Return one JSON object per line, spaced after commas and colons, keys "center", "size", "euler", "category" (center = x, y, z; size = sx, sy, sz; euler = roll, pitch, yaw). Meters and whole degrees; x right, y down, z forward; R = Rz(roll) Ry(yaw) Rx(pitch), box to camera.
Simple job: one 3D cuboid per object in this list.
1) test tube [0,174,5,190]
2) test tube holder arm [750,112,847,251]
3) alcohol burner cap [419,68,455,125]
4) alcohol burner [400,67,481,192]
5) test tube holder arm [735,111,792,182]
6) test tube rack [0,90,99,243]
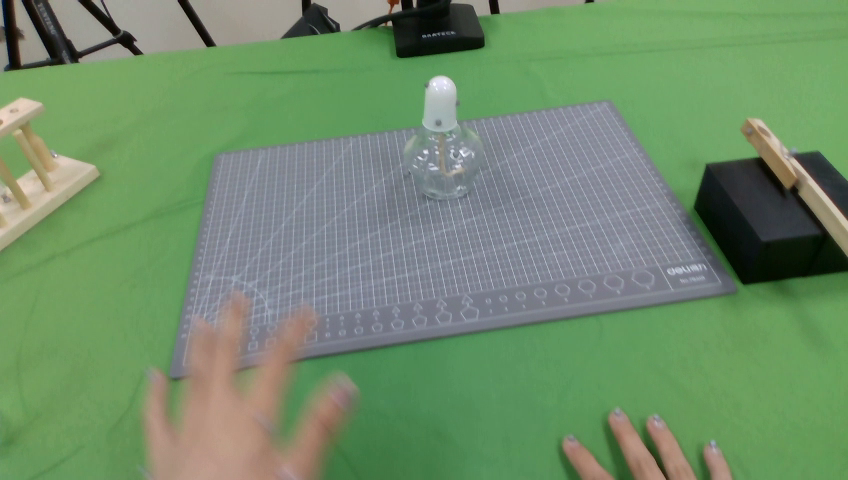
{"center": [-0.443, -0.107, 0.569], "size": [0.017, 0.152, 0.017], "euler": [-5, 43, 5], "category": "test tube"}
{"center": [0.302, -0.050, 0.488], "size": [0.013, 0.015, 0.176], "euler": [-2, 45, -7], "category": "test tube holder arm"}
{"center": [0.012, -0.130, 0.543], "size": [0.034, 0.048, 0.033], "euler": [1, 44, -1], "category": "alcohol burner cap"}
{"center": [0.015, -0.105, 0.569], "size": [0.078, 0.120, 0.077], "euler": [-3, 43, 3], "category": "alcohol burner"}
{"center": [0.292, -0.081, 0.519], "size": [0.010, 0.015, 0.087], "euler": [-2, 45, -7], "category": "test tube holder arm"}
{"center": [-0.440, -0.038, 0.570], "size": [0.066, 0.086, 0.241], "euler": [17, 49, 21], "category": "test tube rack"}
